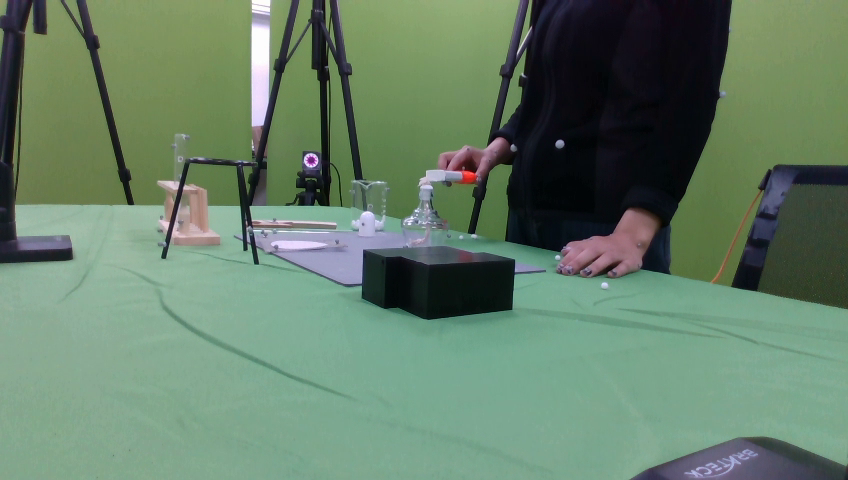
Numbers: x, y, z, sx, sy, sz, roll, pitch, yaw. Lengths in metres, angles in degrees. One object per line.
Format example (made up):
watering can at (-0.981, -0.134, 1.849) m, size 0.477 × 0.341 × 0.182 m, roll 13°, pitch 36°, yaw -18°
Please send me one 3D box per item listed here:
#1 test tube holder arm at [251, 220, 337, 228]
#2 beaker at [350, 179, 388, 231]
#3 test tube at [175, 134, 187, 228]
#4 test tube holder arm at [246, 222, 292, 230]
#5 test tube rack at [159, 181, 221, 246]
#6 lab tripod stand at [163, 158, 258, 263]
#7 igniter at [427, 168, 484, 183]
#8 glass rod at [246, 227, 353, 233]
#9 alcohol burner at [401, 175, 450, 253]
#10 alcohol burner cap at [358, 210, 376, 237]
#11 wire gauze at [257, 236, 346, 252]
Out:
test tube holder arm at (-0.253, -0.030, 1.155) m, size 0.179 × 0.015 × 0.013 m, roll -1°, pitch 41°, yaw -30°
beaker at (-0.111, -0.069, 1.205) m, size 0.074 × 0.100 × 0.084 m, roll 2°, pitch 9°, yaw 0°
test tube at (-0.388, -0.094, 0.964) m, size 0.017 × 0.150 × 0.017 m, roll 1°, pitch 2°, yaw 0°
test tube holder arm at (-0.291, -0.026, 1.129) m, size 0.088 × 0.015 × 0.010 m, roll 0°, pitch 41°, yaw -29°
test tube rack at (-0.395, -0.050, 1.010) m, size 0.067 × 0.085 × 0.241 m, roll -2°, pitch 8°, yaw -28°
lab tripod stand at (-0.265, -0.041, 0.802) m, size 0.148 × 0.131 × 0.148 m, roll 4°, pitch 7°, yaw 0°
igniter at (0.060, -0.115, 1.073) m, size 0.057 × 0.025 × 0.277 m, roll 1°, pitch 5°, yaw 18°
glass rod at (-0.224, -0.017, 1.109) m, size 0.201 × 0.008 × 0.008 m, roll 1°, pitch 7°, yaw -27°
alcohol burner at (0.003, -0.040, 0.933) m, size 0.078 × 0.119 × 0.078 m, roll 2°, pitch 9°, yaw 0°
alcohol burner cap at (-0.104, -0.030, 1.098) m, size 0.034 × 0.048 × 0.034 m, roll 3°, pitch 7°, yaw 0°
wire gauze at (-0.189, 0.005, 0.931) m, size 0.122 × 0.011 × 0.124 m, roll 1°, pitch 7°, yaw -21°
